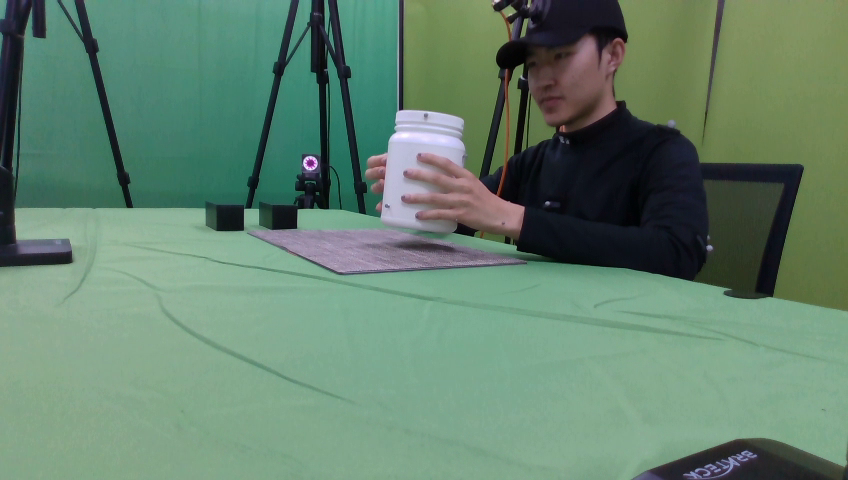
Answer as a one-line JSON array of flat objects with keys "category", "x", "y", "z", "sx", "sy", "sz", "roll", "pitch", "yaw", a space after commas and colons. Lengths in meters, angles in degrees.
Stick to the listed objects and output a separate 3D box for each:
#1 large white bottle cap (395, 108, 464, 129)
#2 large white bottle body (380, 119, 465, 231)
[{"category": "large white bottle cap", "x": 0.009, "y": -0.200, "z": 1.005, "sx": 0.115, "sy": 0.018, "sz": 0.115, "roll": 7, "pitch": 4, "yaw": 0}, {"category": "large white bottle body", "x": -0.001, "y": -0.112, "z": 1.011, "sx": 0.131, "sy": 0.184, "sz": 0.130, "roll": 6, "pitch": 4, "yaw": 0}]
